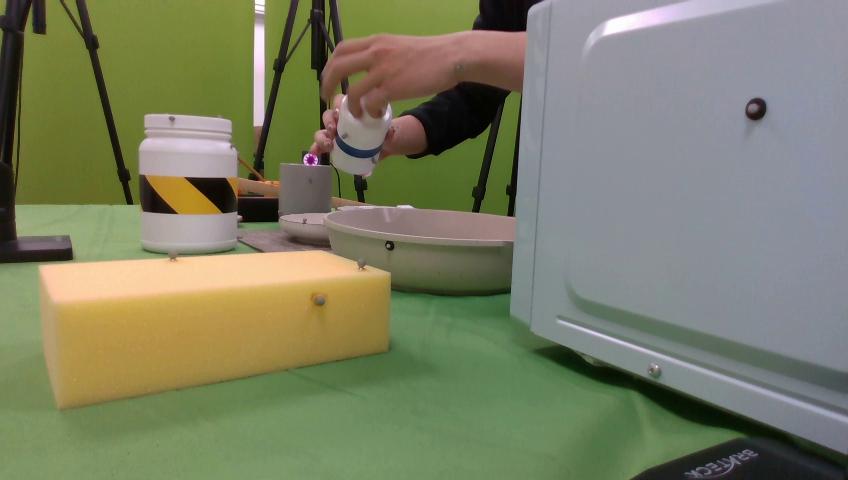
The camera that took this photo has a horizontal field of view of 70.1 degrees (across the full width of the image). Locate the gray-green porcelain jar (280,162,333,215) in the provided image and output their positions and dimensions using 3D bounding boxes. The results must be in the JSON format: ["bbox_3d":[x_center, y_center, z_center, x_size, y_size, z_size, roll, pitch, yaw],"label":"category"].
[{"bbox_3d":[-0.238,-0.092,1.221,0.106,0.126,0.106,2,7,0],"label":"gray-green porcelain jar"}]

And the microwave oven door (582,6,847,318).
[{"bbox_3d":[0.295,-0.067,0.569,0.358,0.243,0.039,-3,8,-31],"label":"microwave oven door"}]

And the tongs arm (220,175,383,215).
[{"bbox_3d":[-0.285,-0.105,1.445,0.389,0.027,0.028,10,-3,-23],"label":"tongs arm"}]

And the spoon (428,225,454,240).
[{"bbox_3d":[0.024,-0.019,1.124,0.042,0.021,0.193,-17,9,-4],"label":"spoon"}]

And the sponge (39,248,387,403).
[{"bbox_3d":[-0.142,0.047,0.420,0.208,0.061,0.117,-3,8,-37],"label":"sponge"}]

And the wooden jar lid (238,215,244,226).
[{"bbox_3d":[-0.404,-0.037,1.169,0.108,0.020,0.108,3,7,0],"label":"wooden jar lid"}]

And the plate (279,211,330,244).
[{"bbox_3d":[-0.139,-0.022,1.021,0.209,0.038,0.209,2,8,0],"label":"plate"}]

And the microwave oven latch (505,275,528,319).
[{"bbox_3d":[0.100,0.041,0.471,0.079,0.029,0.030,-1,7,-28],"label":"microwave oven latch"}]

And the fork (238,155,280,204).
[{"bbox_3d":[-0.396,-0.143,1.486,0.028,0.018,0.208,19,-26,45],"label":"fork"}]

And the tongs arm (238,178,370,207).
[{"bbox_3d":[-0.241,-0.095,1.373,0.387,0.026,0.050,9,0,-37],"label":"tongs arm"}]

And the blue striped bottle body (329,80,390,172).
[{"bbox_3d":[-0.079,-0.142,0.746,0.063,0.063,0.120,-1,-28,-17],"label":"blue striped bottle body"}]

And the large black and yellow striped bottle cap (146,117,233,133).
[{"bbox_3d":[-0.332,-0.163,0.860,0.115,0.019,0.115,1,9,0],"label":"large black and yellow striped bottle cap"}]

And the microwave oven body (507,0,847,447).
[{"bbox_3d":[0.331,-0.042,0.425,0.444,0.260,0.324,-2,8,-31],"label":"microwave oven body"}]

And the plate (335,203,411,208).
[{"bbox_3d":[-0.089,-0.053,1.309,0.208,0.039,0.207,2,8,0],"label":"plate"}]

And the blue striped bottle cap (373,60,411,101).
[{"bbox_3d":[-0.038,-0.187,0.709,0.044,0.044,0.020,2,2,1],"label":"blue striped bottle cap"}]

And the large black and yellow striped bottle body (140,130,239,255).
[{"bbox_3d":[-0.336,-0.078,0.871,0.131,0.184,0.130,2,8,0],"label":"large black and yellow striped bottle body"}]

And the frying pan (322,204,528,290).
[{"bbox_3d":[0.109,-0.018,0.799,0.490,0.102,0.305,-12,16,-30],"label":"frying pan"}]
